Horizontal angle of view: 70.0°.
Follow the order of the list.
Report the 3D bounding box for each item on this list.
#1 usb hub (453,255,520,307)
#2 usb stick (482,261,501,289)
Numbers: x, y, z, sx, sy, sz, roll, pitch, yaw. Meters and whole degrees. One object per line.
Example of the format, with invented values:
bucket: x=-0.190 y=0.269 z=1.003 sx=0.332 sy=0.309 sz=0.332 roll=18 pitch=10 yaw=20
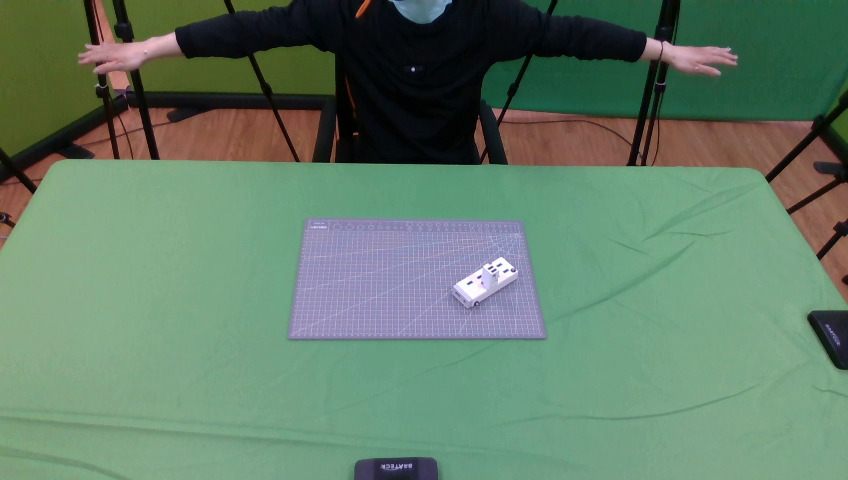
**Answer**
usb hub: x=0.117 y=0.076 z=1.122 sx=0.125 sy=0.025 sz=0.049 roll=-28 pitch=55 yaw=-26
usb stick: x=0.120 y=0.067 z=1.090 sx=0.021 sy=0.059 sz=0.027 roll=-30 pitch=57 yaw=-28
